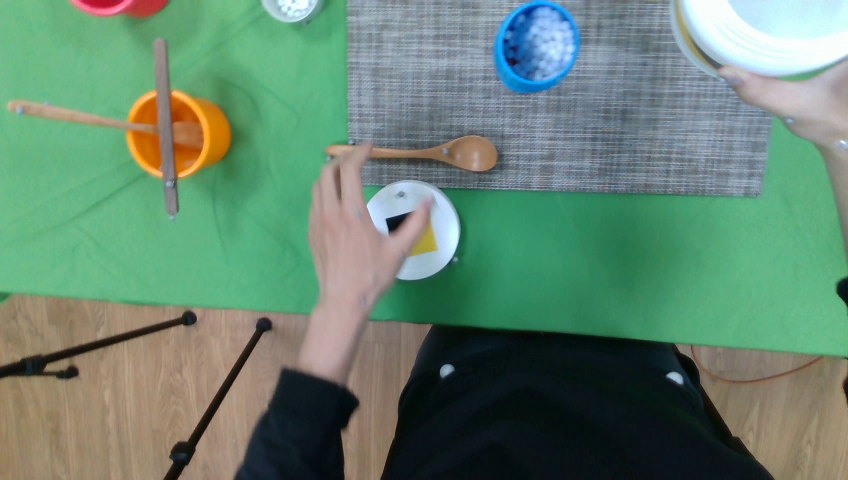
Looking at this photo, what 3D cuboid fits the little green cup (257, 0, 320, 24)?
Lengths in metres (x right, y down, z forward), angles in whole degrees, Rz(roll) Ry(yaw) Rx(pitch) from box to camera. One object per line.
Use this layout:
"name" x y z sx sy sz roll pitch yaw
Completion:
"little green cup" -0.140 -0.257 0.637 0.061 0.038 0.062 1 103 6

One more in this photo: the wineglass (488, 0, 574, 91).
"wineglass" 0.095 -0.173 0.560 0.073 0.172 0.074 1 102 6

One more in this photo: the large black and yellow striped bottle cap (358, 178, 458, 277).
"large black and yellow striped bottle cap" -0.018 -0.013 0.692 0.115 0.018 0.115 1 106 4

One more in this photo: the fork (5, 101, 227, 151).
"fork" -0.309 -0.118 0.629 0.209 0.018 0.028 4 114 -40

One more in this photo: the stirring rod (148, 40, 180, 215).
"stirring rod" -0.267 -0.113 0.623 0.014 0.006 0.177 1 104 7

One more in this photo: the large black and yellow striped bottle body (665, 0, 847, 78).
"large black and yellow striped bottle body" 0.237 -0.181 0.412 0.130 0.184 0.131 4 104 17

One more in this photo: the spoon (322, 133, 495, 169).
"spoon" -0.019 -0.098 0.666 0.193 0.021 0.042 1 123 6
